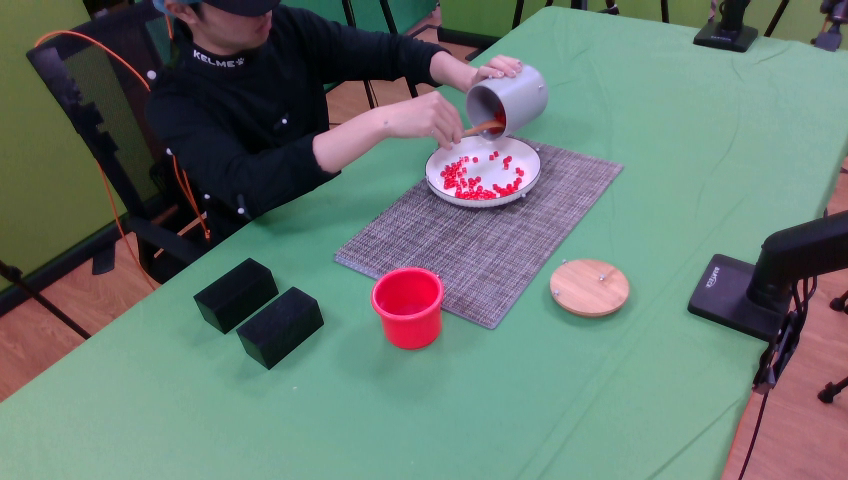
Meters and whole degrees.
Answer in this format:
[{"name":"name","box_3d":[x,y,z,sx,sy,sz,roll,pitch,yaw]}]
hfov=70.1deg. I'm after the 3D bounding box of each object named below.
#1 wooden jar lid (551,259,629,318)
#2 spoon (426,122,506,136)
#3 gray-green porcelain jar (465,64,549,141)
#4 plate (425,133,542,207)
[{"name":"wooden jar lid","box_3d":[0.234,0.070,0.857,0.108,0.021,0.108,-5,40,4]},{"name":"spoon","box_3d":[0.078,-0.189,1.042,0.195,0.021,0.041,-16,14,-41]},{"name":"gray-green porcelain jar","box_3d":[0.154,-0.253,1.094,0.127,0.106,0.105,-34,47,-30]},{"name":"plate","box_3d":[0.105,-0.122,1.079,0.207,0.039,0.206,-4,41,4]}]
